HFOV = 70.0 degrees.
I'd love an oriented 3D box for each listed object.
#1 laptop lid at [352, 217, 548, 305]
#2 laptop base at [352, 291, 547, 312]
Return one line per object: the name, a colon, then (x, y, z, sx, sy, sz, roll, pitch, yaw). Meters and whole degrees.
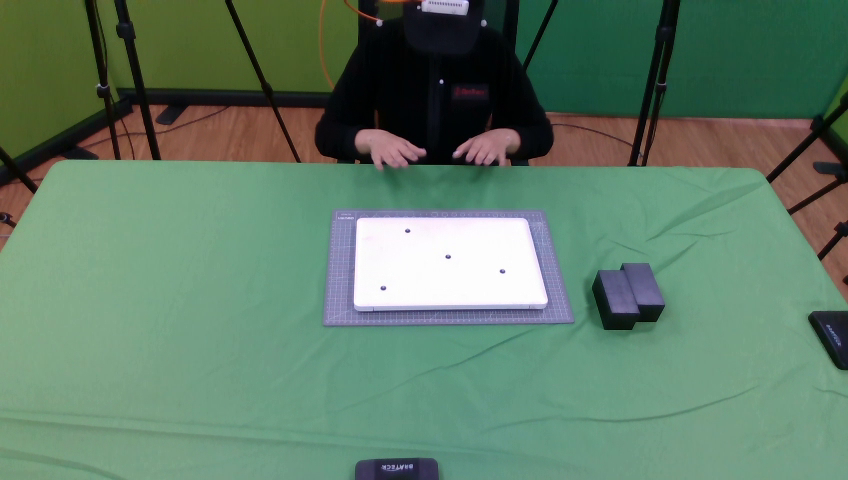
laptop lid: (0.044, 0.034, 1.155, 0.357, 0.013, 0.240, 1, 44, -3)
laptop base: (0.043, 0.044, 1.162, 0.355, 0.023, 0.234, 0, 43, -5)
